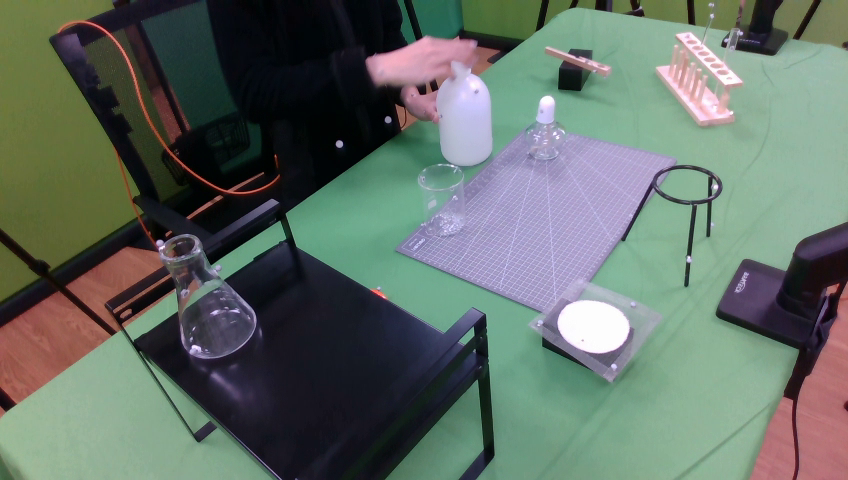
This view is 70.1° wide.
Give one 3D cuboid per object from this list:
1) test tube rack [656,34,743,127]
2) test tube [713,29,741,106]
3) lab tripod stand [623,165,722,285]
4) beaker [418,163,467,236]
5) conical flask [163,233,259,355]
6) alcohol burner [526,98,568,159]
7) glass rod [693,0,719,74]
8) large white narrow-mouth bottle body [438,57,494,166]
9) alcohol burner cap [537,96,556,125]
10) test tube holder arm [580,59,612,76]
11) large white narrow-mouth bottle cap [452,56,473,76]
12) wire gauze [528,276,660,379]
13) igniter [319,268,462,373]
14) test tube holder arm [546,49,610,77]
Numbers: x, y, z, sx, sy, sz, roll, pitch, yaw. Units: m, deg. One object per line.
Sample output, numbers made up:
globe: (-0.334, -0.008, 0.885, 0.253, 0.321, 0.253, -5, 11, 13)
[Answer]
test tube rack: (0.553, -0.330, 1.233, 0.067, 0.085, 0.241, -7, 40, 2)
test tube: (0.572, -0.324, 1.146, 0.017, 0.151, 0.017, -3, 39, 3)
lab tripod stand: (0.365, -0.030, 0.874, 0.148, 0.132, 0.147, -6, 41, 6)
beaker: (0.035, -0.065, 0.990, 0.073, 0.101, 0.084, 24, 49, 32)
conical flask: (-0.216, 0.051, 0.601, 0.075, 0.122, 0.075, -4, 40, 4)
alcohol burner: (0.228, -0.210, 1.118, 0.078, 0.119, 0.077, -5, 43, 5)
glass rod: (0.560, -0.401, 1.214, 0.008, 0.200, 0.008, -1, 48, 2)
large white narrow-mouth bottle body: (0.077, -0.242, 1.122, 0.102, 0.195, 0.101, -4, 40, 4)
alcohol burner cap: (0.223, -0.237, 1.095, 0.034, 0.048, 0.033, -1, 42, 1)
test tube holder arm: (0.363, -0.369, 1.288, 0.010, 0.015, 0.087, -28, 43, -28)
large white narrow-mouth bottle cap: (0.068, -0.307, 1.066, 0.038, 0.024, 0.037, -4, 40, 4)
wire gauze: (0.213, 0.103, 0.763, 0.124, 0.011, 0.122, 30, 52, 35)
igniter: (-0.059, 0.107, 0.862, 0.274, 0.025, 0.057, 28, 62, 34)
test tube holder arm: (0.332, -0.387, 1.315, 0.013, 0.015, 0.177, -26, 43, -27)
